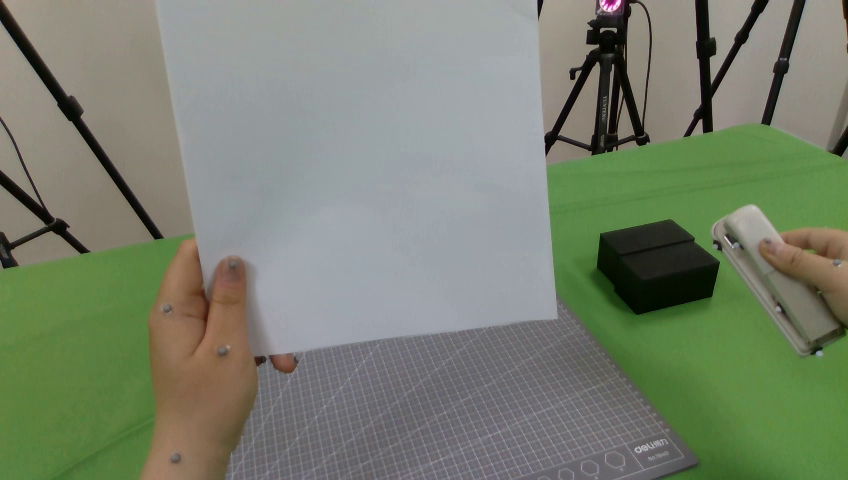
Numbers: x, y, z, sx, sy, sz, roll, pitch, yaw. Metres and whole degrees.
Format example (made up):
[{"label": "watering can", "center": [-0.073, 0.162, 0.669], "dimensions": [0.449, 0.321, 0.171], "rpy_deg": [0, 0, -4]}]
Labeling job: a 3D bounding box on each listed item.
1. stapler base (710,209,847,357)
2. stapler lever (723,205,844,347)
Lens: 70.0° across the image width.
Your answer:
[{"label": "stapler base", "center": [0.287, 0.030, 0.495], "dimensions": [0.041, 0.024, 0.129], "rpy_deg": [-33, 67, 13]}, {"label": "stapler lever", "center": [0.279, 0.025, 0.473], "dimensions": [0.027, 0.040, 0.117], "rpy_deg": [-33, 66, 13]}]
